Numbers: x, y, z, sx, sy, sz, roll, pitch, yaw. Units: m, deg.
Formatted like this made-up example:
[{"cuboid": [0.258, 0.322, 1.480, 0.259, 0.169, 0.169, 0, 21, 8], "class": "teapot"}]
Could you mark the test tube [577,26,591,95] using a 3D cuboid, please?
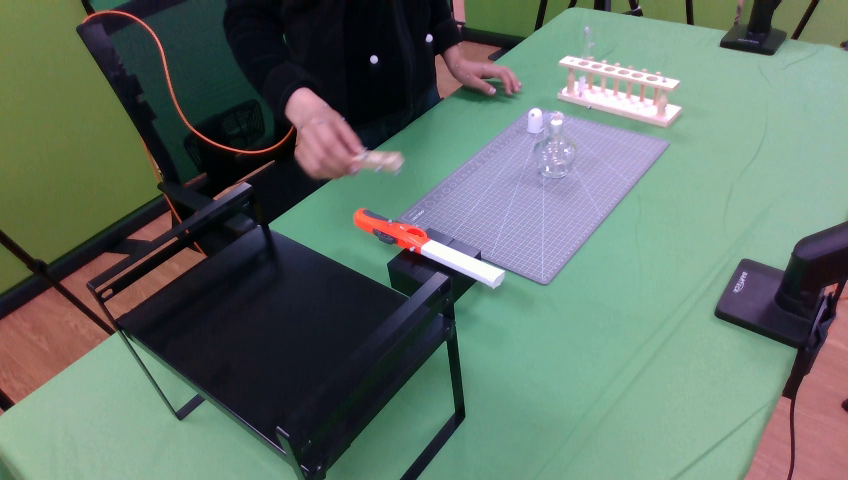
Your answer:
[{"cuboid": [0.325, -0.361, 1.226, 0.017, 0.151, 0.017, -4, 46, 4], "class": "test tube"}]

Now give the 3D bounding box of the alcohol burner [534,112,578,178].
[{"cuboid": [0.232, -0.170, 1.065, 0.078, 0.119, 0.077, -5, 39, 5], "class": "alcohol burner"}]

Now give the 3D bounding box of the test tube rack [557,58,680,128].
[{"cuboid": [0.395, -0.309, 1.230, 0.240, 0.085, 0.067, 25, 50, 33], "class": "test tube rack"}]

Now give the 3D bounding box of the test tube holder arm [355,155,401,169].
[{"cuboid": [-0.060, -0.098, 0.753, 0.087, 0.015, 0.010, 11, 47, 47], "class": "test tube holder arm"}]

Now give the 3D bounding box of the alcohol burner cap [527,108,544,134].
[{"cuboid": [0.222, -0.238, 1.203, 0.034, 0.048, 0.033, -5, 41, 5], "class": "alcohol burner cap"}]

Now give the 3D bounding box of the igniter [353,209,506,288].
[{"cuboid": [-0.003, 0.006, 0.892, 0.274, 0.025, 0.057, 24, 37, 31], "class": "igniter"}]

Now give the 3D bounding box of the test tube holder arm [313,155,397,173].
[{"cuboid": [-0.094, -0.100, 0.783, 0.177, 0.015, 0.013, 11, 47, 47], "class": "test tube holder arm"}]
